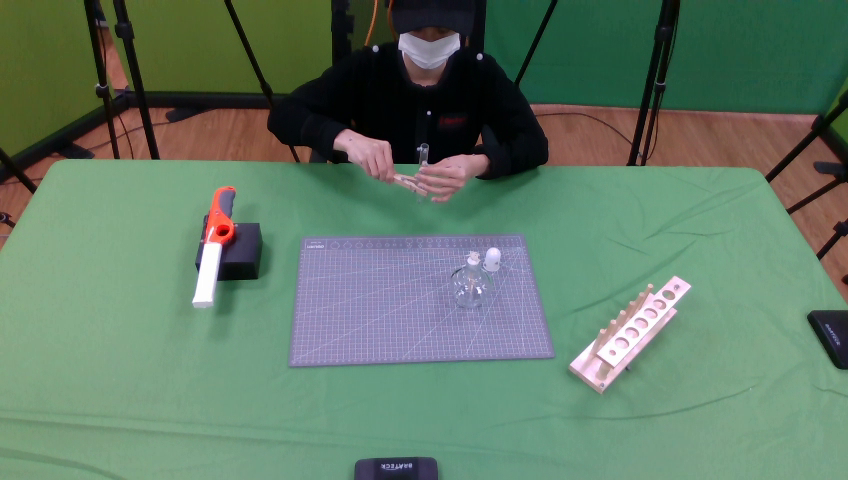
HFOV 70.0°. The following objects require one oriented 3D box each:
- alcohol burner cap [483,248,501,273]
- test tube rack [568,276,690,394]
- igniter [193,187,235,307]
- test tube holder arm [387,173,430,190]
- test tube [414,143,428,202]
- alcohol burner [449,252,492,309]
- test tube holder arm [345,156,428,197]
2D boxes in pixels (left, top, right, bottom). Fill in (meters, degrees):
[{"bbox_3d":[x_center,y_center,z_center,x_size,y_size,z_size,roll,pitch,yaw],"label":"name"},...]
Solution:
[{"bbox_3d":[0.130,0.037,1.156,0.034,0.048,0.033,1,45,-1],"label":"alcohol burner cap"},{"bbox_3d":[0.353,0.149,1.039,0.242,0.085,0.066,-34,56,-31],"label":"test tube rack"},{"bbox_3d":[-0.378,0.003,1.096,0.057,0.025,0.274,-1,49,-6],"label":"igniter"},{"bbox_3d":[-0.031,-0.115,1.192,0.088,0.015,0.010,11,44,-4],"label":"test tube holder arm"},{"bbox_3d":[-0.006,-0.125,1.164,0.017,0.151,0.017,3,51,-4],"label":"test tube"},{"bbox_3d":[0.084,0.066,1.073,0.078,0.120,0.077,1,44,-1],"label":"alcohol burner"},{"bbox_3d":[-0.075,-0.126,1.191,0.178,0.015,0.013,23,44,8],"label":"test tube holder arm"}]
